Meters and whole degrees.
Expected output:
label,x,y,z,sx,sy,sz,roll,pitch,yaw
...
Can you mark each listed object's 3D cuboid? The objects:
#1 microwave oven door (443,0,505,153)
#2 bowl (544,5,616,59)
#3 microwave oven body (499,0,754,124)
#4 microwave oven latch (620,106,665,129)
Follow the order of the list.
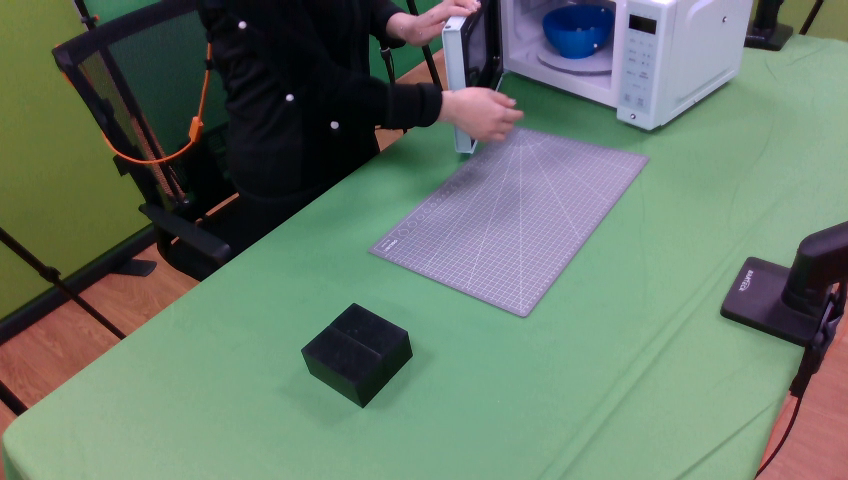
label,x,y,z,sx,sy,sz,roll,pitch,yaw
microwave oven door,0.109,-0.373,1.209,0.039,0.245,0.355,5,42,17
bowl,0.332,-0.441,1.302,0.151,0.077,0.150,-3,39,3
microwave oven body,0.402,-0.458,1.259,0.327,0.261,0.437,-33,45,-24
microwave oven latch,0.412,-0.237,1.146,0.030,0.029,0.078,-32,44,-23
